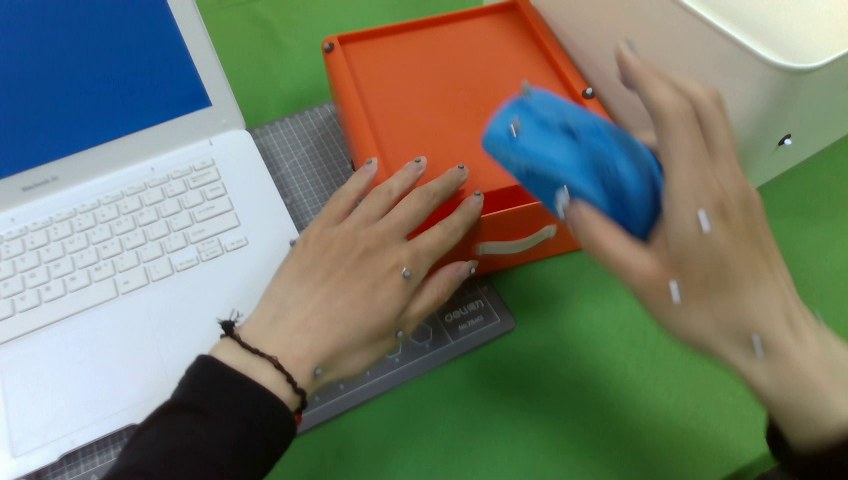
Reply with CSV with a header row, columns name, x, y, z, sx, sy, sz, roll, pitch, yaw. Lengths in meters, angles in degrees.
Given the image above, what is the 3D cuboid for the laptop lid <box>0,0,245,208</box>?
name,x,y,z,sx,sy,sz,roll,pitch,yaw
laptop lid,-0.350,-0.136,0.469,0.357,0.244,0.013,-25,28,-13

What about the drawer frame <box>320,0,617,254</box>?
name,x,y,z,sx,sy,sz,roll,pitch,yaw
drawer frame,0.034,-0.100,0.513,0.202,0.083,0.211,-16,56,-9

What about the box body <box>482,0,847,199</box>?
name,x,y,z,sx,sy,sz,roll,pitch,yaw
box body,0.241,-0.235,0.551,0.254,0.162,0.360,-28,59,-16

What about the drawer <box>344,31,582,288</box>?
name,x,y,z,sx,sy,sz,roll,pitch,yaw
drawer,0.040,-0.081,0.500,0.195,0.074,0.209,-14,56,-8

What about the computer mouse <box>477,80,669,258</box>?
name,x,y,z,sx,sy,sz,roll,pitch,yaw
computer mouse,0.089,-0.046,0.348,0.117,0.041,0.062,42,60,5

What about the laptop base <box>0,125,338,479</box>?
name,x,y,z,sx,sy,sz,roll,pitch,yaw
laptop base,-0.268,0.048,0.464,0.355,0.023,0.233,-24,61,-13
